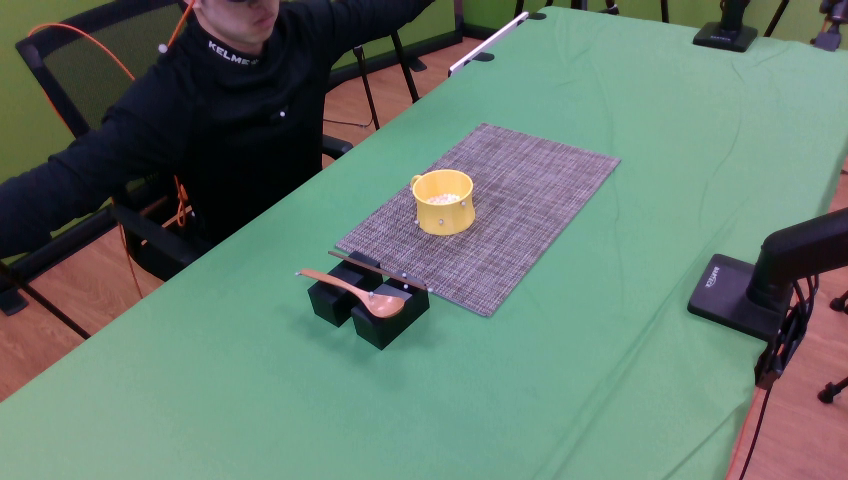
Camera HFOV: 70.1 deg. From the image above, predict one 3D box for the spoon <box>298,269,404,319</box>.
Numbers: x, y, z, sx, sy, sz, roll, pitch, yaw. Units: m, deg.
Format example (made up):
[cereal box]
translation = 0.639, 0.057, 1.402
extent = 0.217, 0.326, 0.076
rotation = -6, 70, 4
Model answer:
[spoon]
translation = -0.106, 0.068, 0.831
extent = 0.192, 0.022, 0.042
rotation = 21, 48, 32

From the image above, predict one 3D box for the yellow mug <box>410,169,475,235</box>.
[yellow mug]
translation = 0.022, -0.070, 1.007
extent = 0.129, 0.064, 0.100
rotation = 29, 52, 36

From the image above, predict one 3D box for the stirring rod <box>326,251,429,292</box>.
[stirring rod]
translation = -0.068, 0.043, 0.858
extent = 0.175, 0.006, 0.014
rotation = 18, 9, 27
